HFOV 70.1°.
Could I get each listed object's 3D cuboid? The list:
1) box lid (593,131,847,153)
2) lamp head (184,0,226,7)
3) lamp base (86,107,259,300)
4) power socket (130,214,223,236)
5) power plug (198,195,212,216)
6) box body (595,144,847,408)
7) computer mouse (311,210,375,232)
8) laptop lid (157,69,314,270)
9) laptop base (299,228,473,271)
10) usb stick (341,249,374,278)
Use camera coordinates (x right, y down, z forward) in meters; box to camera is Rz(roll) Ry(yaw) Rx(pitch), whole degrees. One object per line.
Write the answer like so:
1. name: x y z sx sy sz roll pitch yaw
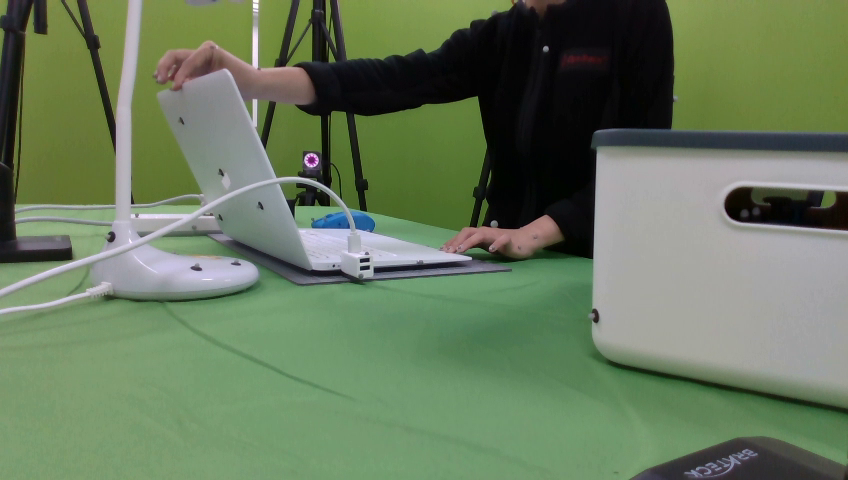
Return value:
1. box lid: 0.311 -0.067 0.498 0.262 0.015 0.373 6 7 30
2. lamp head: -0.229 -0.320 0.627 0.112 0.112 0.123 6 -36 26
3. lamp base: -0.254 -0.039 0.603 0.160 0.180 0.179 4 10 18
4. power socket: -0.397 -0.028 1.048 0.228 0.032 0.072 -3 8 -35
5. power plug: -0.386 -0.055 1.088 0.035 0.052 0.072 -1 7 -23
6. box body: 0.309 0.007 0.508 0.253 0.160 0.366 6 8 30
7. computer mouse: -0.152 -0.034 1.139 0.118 0.041 0.062 -6 12 -28
8. laptop lid: -0.258 -0.089 0.781 0.013 0.242 0.355 -31 25 -27
9. laptop base: -0.124 0.011 0.889 0.237 0.023 0.352 2 6 -35
10. usb stick: -0.079 0.026 0.686 0.021 0.027 0.059 -7 9 -30
